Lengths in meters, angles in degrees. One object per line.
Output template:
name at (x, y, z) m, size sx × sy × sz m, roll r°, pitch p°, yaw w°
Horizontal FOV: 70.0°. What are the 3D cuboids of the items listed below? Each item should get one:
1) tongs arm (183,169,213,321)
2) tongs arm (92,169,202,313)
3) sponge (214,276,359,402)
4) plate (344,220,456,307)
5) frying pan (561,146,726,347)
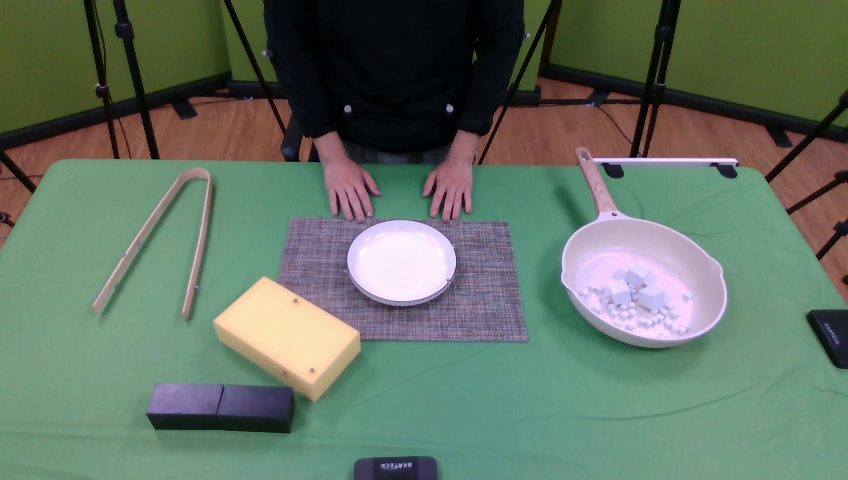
tongs arm at (-0.436, -0.005, 1.166) m, size 0.028 × 0.028 × 0.385 m, roll -5°, pitch 46°, yaw -6°
tongs arm at (-0.517, -0.012, 1.160) m, size 0.051 × 0.026 × 0.382 m, roll 7°, pitch 45°, yaw 1°
sponge at (-0.224, 0.158, 0.998) m, size 0.206 × 0.061 × 0.118 m, roll 27°, pitch 52°, yaw 18°
plate at (-0.044, 0.047, 1.133) m, size 0.208 × 0.039 × 0.206 m, roll 3°, pitch 46°, yaw -2°
frying pan at (0.378, -0.005, 1.175) m, size 0.307 × 0.103 × 0.484 m, roll -4°, pitch 55°, yaw -9°
